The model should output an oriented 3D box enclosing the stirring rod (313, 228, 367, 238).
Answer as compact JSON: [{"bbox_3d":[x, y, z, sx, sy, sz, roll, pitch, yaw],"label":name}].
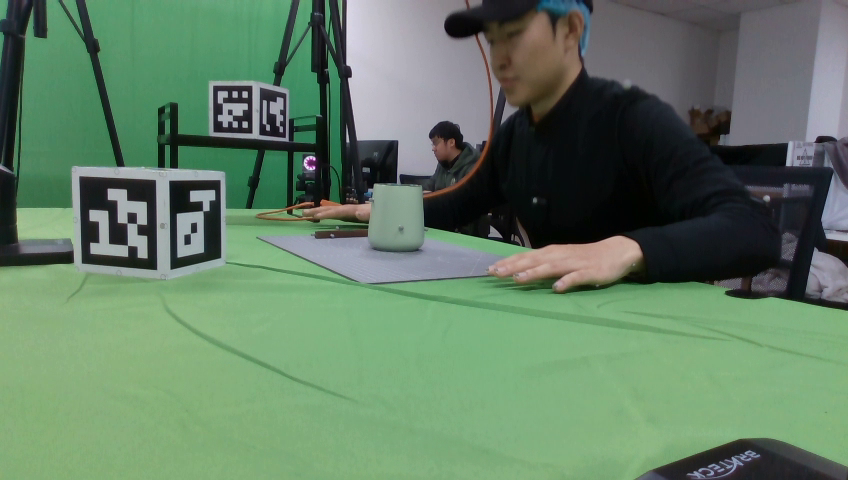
[{"bbox_3d":[-0.123,-0.014,1.114,0.177,0.014,0.006,-3,3,-35],"label":"stirring rod"}]

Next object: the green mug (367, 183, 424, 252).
[{"bbox_3d":[-0.053,-0.040,0.990,0.093,0.105,0.124,-1,8,-29],"label":"green mug"}]
